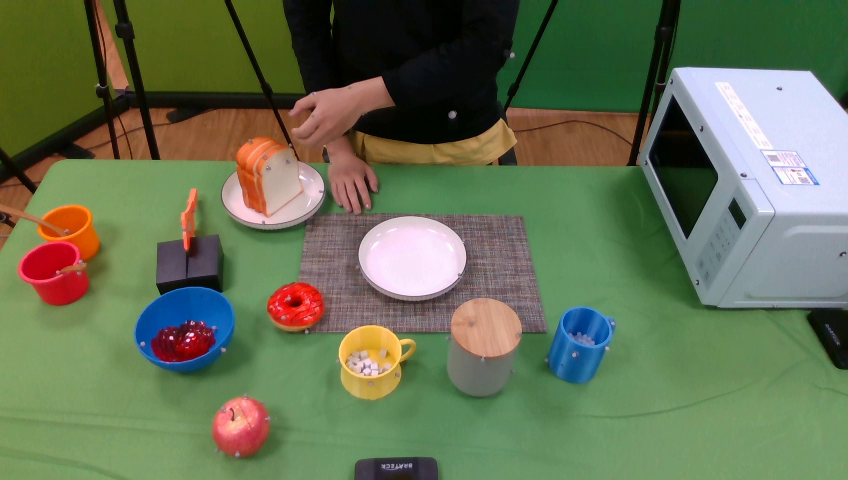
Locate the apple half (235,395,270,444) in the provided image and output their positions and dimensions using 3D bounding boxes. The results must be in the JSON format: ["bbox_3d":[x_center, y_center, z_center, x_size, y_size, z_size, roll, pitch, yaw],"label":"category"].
[{"bbox_3d":[-0.245,0.259,0.893,0.033,0.082,0.081,-29,55,-22],"label":"apple half"}]

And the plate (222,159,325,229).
[{"bbox_3d":[-0.308,-0.094,1.251,0.209,0.038,0.208,2,46,-2],"label":"plate"}]

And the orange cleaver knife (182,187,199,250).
[{"bbox_3d":[-0.445,-0.045,1.163,0.012,0.077,0.210,-5,23,-13],"label":"orange cleaver knife"}]

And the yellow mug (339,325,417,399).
[{"bbox_3d":[-0.072,0.191,0.978,0.131,0.064,0.099,-17,50,-20],"label":"yellow mug"}]

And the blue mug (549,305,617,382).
[{"bbox_3d":[0.269,0.165,0.998,0.116,0.106,0.082,-19,51,-21],"label":"blue mug"}]

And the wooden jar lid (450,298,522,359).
[{"bbox_3d":[0.093,0.135,0.914,0.108,0.021,0.107,2,48,-3],"label":"wooden jar lid"}]

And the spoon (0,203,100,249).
[{"bbox_3d":[-0.683,-0.031,1.088,0.195,0.021,0.041,33,33,-38],"label":"spoon"}]

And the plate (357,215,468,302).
[{"bbox_3d":[-0.022,0.037,1.141,0.208,0.039,0.206,2,46,-2],"label":"plate"}]

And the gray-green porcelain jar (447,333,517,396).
[{"bbox_3d":[0.091,0.178,0.960,0.106,0.127,0.105,2,46,-2],"label":"gray-green porcelain jar"}]

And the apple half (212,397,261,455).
[{"bbox_3d":[-0.276,0.276,0.877,0.053,0.075,0.080,-29,58,-21],"label":"apple half"}]

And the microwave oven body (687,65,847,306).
[{"bbox_3d":[0.669,-0.111,1.176,0.326,0.261,0.439,0,46,-3],"label":"microwave oven body"}]

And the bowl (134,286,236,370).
[{"bbox_3d":[-0.377,0.155,0.981,0.151,0.077,0.150,2,46,-2],"label":"bowl"}]

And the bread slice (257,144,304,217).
[{"bbox_3d":[-0.290,-0.124,1.206,0.018,0.135,0.107,25,53,23],"label":"bread slice"}]

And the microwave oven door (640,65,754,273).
[{"bbox_3d":[0.523,-0.147,1.193,0.039,0.245,0.353,0,47,-3],"label":"microwave oven door"}]

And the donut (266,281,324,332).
[{"bbox_3d":[-0.222,0.114,1.049,0.099,0.048,0.098,2,45,-2],"label":"donut"}]

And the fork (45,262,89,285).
[{"bbox_3d":[-0.598,0.054,1.014,0.207,0.019,0.028,-15,28,45],"label":"fork"}]

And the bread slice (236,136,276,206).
[{"bbox_3d":[-0.331,-0.147,1.225,0.019,0.132,0.105,25,47,26],"label":"bread slice"}]

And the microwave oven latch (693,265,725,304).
[{"bbox_3d":[0.522,0.081,1.116,0.030,0.029,0.078,2,46,-1],"label":"microwave oven latch"}]
